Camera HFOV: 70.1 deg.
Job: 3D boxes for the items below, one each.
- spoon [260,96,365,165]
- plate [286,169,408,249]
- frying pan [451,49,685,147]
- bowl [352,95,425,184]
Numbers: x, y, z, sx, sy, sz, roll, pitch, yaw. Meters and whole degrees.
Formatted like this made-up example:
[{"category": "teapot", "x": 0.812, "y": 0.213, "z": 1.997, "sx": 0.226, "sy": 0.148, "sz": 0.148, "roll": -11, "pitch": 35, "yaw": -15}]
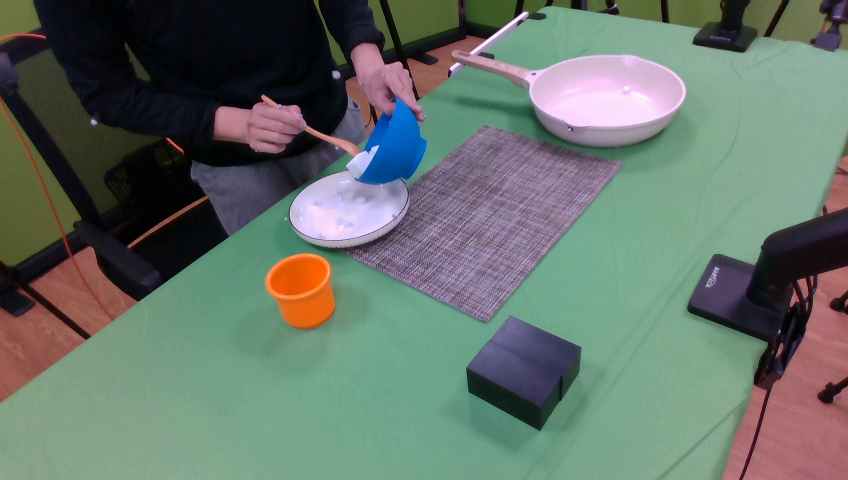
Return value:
[{"category": "spoon", "x": -0.175, "y": -0.174, "z": 0.970, "sx": 0.195, "sy": 0.021, "sz": 0.041, "roll": 26, "pitch": 18, "yaw": -22}, {"category": "plate", "x": -0.127, "y": -0.051, "z": 1.028, "sx": 0.207, "sy": 0.039, "sz": 0.206, "roll": -5, "pitch": 39, "yaw": 5}, {"category": "frying pan", "x": 0.269, "y": -0.316, "z": 1.233, "sx": 0.485, "sy": 0.103, "sz": 0.307, "roll": 26, "pitch": 49, "yaw": 21}, {"category": "bowl", "x": -0.050, "y": -0.150, "z": 0.984, "sx": 0.077, "sy": 0.151, "sz": 0.150, "roll": 23, "pitch": 36, "yaw": -19}]
